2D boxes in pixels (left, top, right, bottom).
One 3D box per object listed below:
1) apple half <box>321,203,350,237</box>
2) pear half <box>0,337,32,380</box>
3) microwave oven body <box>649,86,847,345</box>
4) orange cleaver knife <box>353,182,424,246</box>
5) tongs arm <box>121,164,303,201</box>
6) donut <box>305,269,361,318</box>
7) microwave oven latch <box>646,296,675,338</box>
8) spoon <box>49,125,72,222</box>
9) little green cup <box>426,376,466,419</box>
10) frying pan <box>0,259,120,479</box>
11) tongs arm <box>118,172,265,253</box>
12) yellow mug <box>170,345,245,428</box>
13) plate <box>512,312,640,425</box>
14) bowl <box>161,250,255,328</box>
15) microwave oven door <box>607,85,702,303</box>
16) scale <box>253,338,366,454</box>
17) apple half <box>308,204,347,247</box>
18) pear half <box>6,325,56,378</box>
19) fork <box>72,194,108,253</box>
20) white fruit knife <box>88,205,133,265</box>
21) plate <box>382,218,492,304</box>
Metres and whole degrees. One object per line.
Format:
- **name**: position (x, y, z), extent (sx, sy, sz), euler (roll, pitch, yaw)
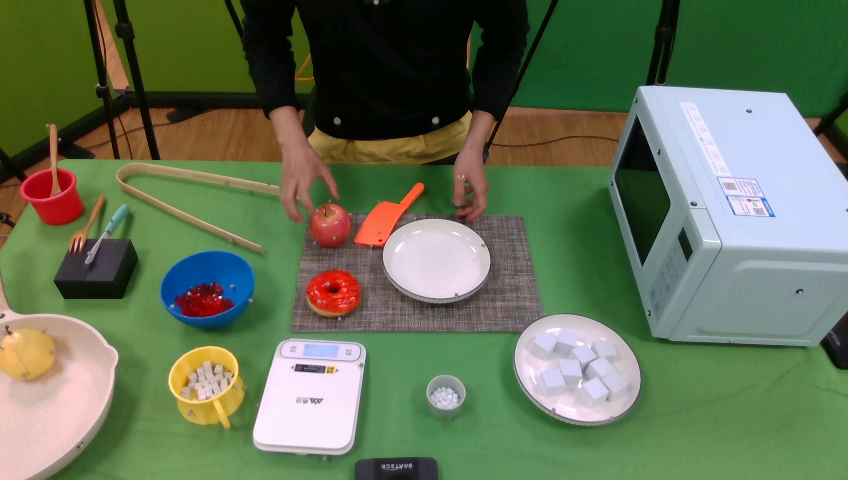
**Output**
- **apple half**: position (-0.166, -0.041, 1.183), extent (0.081, 0.082, 0.033), euler (35, 57, 27)
- **pear half**: position (-0.631, 0.184, 0.921), extent (0.070, 0.088, 0.031), euler (29, 49, 19)
- **microwave oven body**: position (0.568, -0.053, 1.118), extent (0.326, 0.261, 0.439), euler (2, 45, -1)
- **orange cleaver knife**: position (-0.070, -0.058, 1.246), extent (0.077, 0.012, 0.210), euler (18, 49, 21)
- **tongs arm**: position (-0.444, -0.114, 1.267), extent (0.384, 0.026, 0.050), euler (12, 50, 8)
- **donut**: position (-0.160, 0.094, 1.075), extent (0.099, 0.048, 0.098), euler (4, 45, -3)
- **microwave oven latch**: position (0.412, 0.134, 1.061), extent (0.030, 0.029, 0.078), euler (4, 45, 1)
- **spoon**: position (-0.718, -0.131, 1.189), extent (0.041, 0.021, 0.193), euler (-4, 90, -7)
- **little green cup**: position (0.033, 0.248, 0.950), extent (0.061, 0.039, 0.061), euler (2, 46, -2)
- **frying pan**: position (-0.647, 0.164, 0.936), extent (0.307, 0.103, 0.485), euler (-19, 58, -22)
- **tongs arm**: position (-0.473, -0.055, 1.211), extent (0.386, 0.028, 0.028), euler (23, 56, 18)
- **yellow mug**: position (-0.322, 0.230, 0.922), extent (0.100, 0.064, 0.130), euler (-24, 53, -25)
- **plate**: position (0.246, 0.213, 0.999), extent (0.208, 0.039, 0.206), euler (2, 46, -2)
- **bowl**: position (-0.362, 0.098, 1.039), extent (0.151, 0.077, 0.150), euler (2, 45, -2)
- **microwave oven door**: position (0.423, -0.094, 1.140), extent (0.039, 0.245, 0.353), euler (2, 46, -1)
- **scale**: position (-0.175, 0.236, 0.951), extent (0.149, 0.032, 0.199), euler (4, 45, -1)
- **apple half**: position (-0.193, -0.021, 1.164), extent (0.080, 0.075, 0.053), euler (37, 58, 23)
- **pear half**: position (-0.608, 0.158, 0.935), extent (0.076, 0.110, 0.056), euler (31, 51, 20)
- **fork**: position (-0.634, -0.036, 1.158), extent (0.028, 0.019, 0.206), euler (-8, 32, -8)
- **white fruit knife**: position (-0.584, -0.013, 1.129), extent (0.016, 0.027, 0.206), euler (0, 32, -5)
- **plate**: position (0.023, 0.042, 1.143), extent (0.209, 0.038, 0.208), euler (2, 46, -2)
